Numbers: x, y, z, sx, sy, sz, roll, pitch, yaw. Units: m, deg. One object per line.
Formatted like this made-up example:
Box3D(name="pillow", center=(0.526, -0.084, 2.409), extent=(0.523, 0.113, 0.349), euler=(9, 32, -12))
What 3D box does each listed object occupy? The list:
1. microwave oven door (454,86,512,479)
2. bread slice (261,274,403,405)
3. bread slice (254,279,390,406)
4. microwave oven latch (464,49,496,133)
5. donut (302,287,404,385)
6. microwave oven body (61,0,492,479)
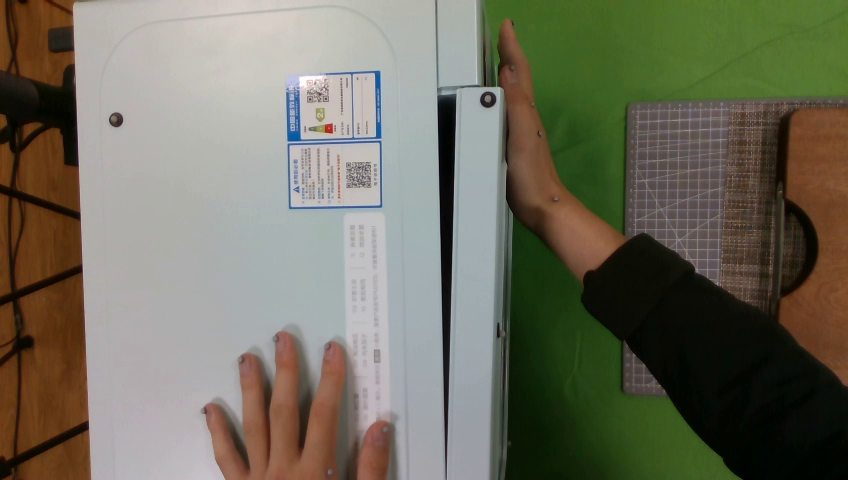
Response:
Box3D(name="microwave oven door", center=(0.051, 0.071, 0.519), extent=(0.039, 0.244, 0.356), euler=(1, 92, 10))
Box3D(name="bread slice", center=(-0.098, 0.095, 0.601), extent=(0.131, 0.019, 0.105), euler=(20, 97, 6))
Box3D(name="bread slice", center=(-0.090, 0.089, 0.533), extent=(0.134, 0.018, 0.107), euler=(-3, 93, 21))
Box3D(name="microwave oven latch", center=(0.057, -0.150, 0.611), extent=(0.030, 0.029, 0.079), euler=(-1, 93, 9))
Box3D(name="donut", center=(-0.068, 0.091, 0.575), extent=(0.099, 0.048, 0.099), euler=(0, 107, 0))
Box3D(name="microwave oven body", center=(-0.102, 0.032, 0.547), extent=(0.325, 0.260, 0.441), euler=(-1, 92, 9))
